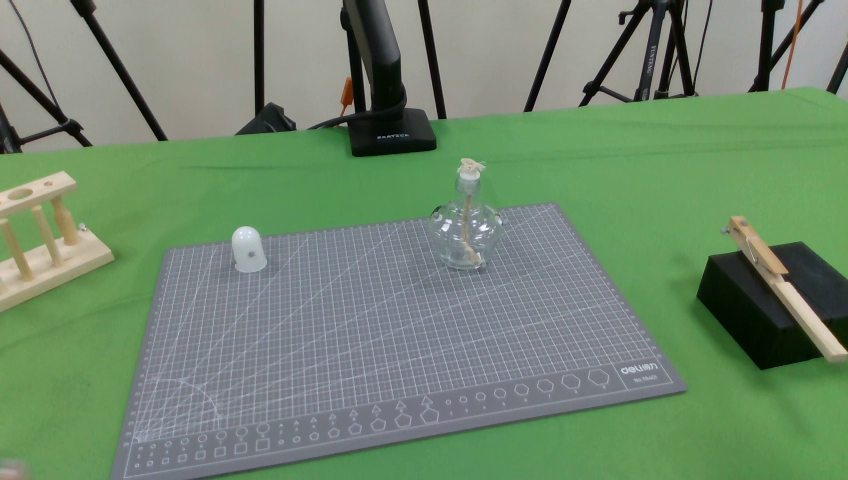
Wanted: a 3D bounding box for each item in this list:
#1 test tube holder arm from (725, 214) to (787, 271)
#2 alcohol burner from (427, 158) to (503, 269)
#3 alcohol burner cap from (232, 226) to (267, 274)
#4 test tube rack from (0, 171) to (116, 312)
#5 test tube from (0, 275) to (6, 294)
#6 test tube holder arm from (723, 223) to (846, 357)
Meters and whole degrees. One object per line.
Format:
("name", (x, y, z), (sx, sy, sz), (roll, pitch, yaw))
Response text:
("test tube holder arm", (0.305, 0.004, 0.558), (0.015, 0.010, 0.087), (-1, 37, -2))
("alcohol burner", (0.043, -0.030, 0.613), (0.078, 0.120, 0.077), (1, 36, -1))
("alcohol burner cap", (-0.182, 0.008, 0.625), (0.034, 0.048, 0.033), (-1, 36, 1))
("test tube rack", (-0.437, 0.026, 0.571), (0.066, 0.086, 0.242), (30, 46, 34))
("test tube", (-0.412, -0.010, 0.543), (0.017, 0.151, 0.017), (1, 36, 0))
("test tube holder arm", (0.306, 0.035, 0.525), (0.015, 0.013, 0.176), (-1, 36, -2))
